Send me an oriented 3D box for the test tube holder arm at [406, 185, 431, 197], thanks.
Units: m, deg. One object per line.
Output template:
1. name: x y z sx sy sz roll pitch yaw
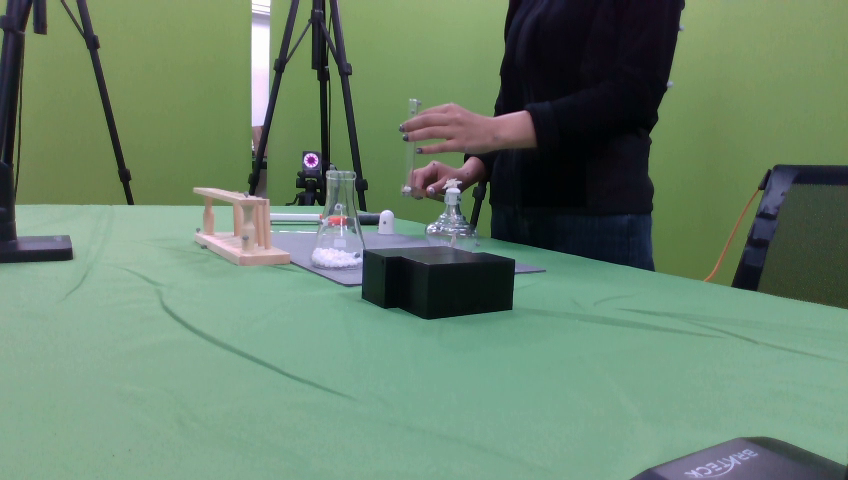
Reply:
1. test tube holder arm: -0.009 -0.089 1.106 0.010 0.015 0.088 14 4 23

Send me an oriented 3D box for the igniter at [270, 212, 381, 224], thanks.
1. igniter: -0.213 -0.048 1.278 0.278 0.025 0.057 -1 -2 -25

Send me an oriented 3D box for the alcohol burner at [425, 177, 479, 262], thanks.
1. alcohol burner: 0.040 -0.029 0.853 0.078 0.119 0.078 2 9 0

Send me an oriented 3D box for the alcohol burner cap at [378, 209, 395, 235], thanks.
1. alcohol burner cap: -0.070 -0.035 1.144 0.034 0.048 0.034 2 8 0

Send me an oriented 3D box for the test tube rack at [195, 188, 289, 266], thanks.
1. test tube rack: -0.266 -0.025 0.864 0.067 0.085 0.241 -2 8 -33

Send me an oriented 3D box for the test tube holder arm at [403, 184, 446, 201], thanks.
1. test tube holder arm: 0.004 -0.089 1.150 0.013 0.015 0.179 14 4 23

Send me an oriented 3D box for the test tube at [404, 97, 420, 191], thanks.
1. test tube: -0.020 -0.154 0.978 0.017 0.150 0.017 4 10 0

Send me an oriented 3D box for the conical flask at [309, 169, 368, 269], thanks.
1. conical flask: -0.107 -0.028 0.762 0.075 0.122 0.075 2 7 0

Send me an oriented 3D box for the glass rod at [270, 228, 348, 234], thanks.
1. glass rod: -0.235 -0.016 1.105 0.201 0.008 0.008 2 6 -26
